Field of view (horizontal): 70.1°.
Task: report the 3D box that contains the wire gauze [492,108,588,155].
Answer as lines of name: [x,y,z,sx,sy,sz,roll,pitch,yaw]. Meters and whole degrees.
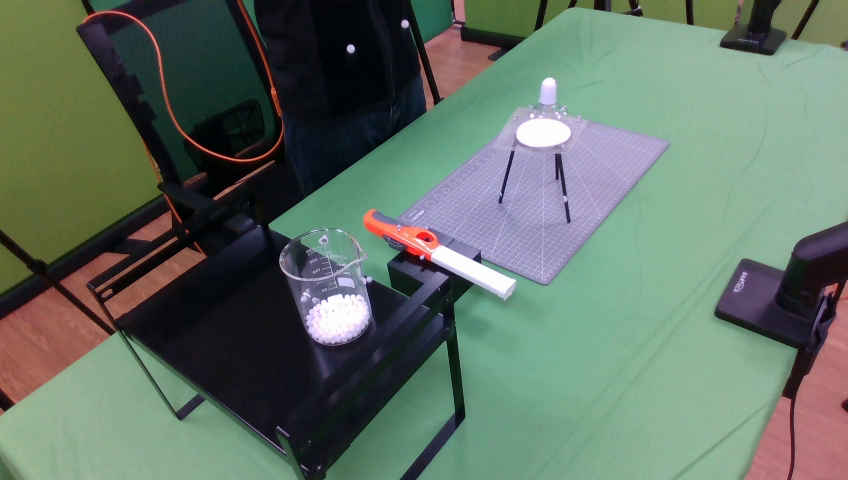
wire gauze: [0.185,-0.170,0.953,0.121,0.011,0.125,13,44,22]

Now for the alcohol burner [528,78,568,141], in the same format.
alcohol burner: [0.238,-0.253,1.163,0.078,0.119,0.077,-6,40,6]

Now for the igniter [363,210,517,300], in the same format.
igniter: [0.012,0.015,0.880,0.274,0.025,0.057,26,48,30]

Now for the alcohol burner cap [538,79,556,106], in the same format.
alcohol burner cap: [0.234,-0.281,1.141,0.034,0.048,0.033,-1,42,2]

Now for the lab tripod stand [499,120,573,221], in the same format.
lab tripod stand: [0.198,-0.117,0.992,0.148,0.132,0.147,-3,40,3]

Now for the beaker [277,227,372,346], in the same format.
beaker: [-0.090,0.048,0.593,0.084,0.101,0.073,-3,41,5]
